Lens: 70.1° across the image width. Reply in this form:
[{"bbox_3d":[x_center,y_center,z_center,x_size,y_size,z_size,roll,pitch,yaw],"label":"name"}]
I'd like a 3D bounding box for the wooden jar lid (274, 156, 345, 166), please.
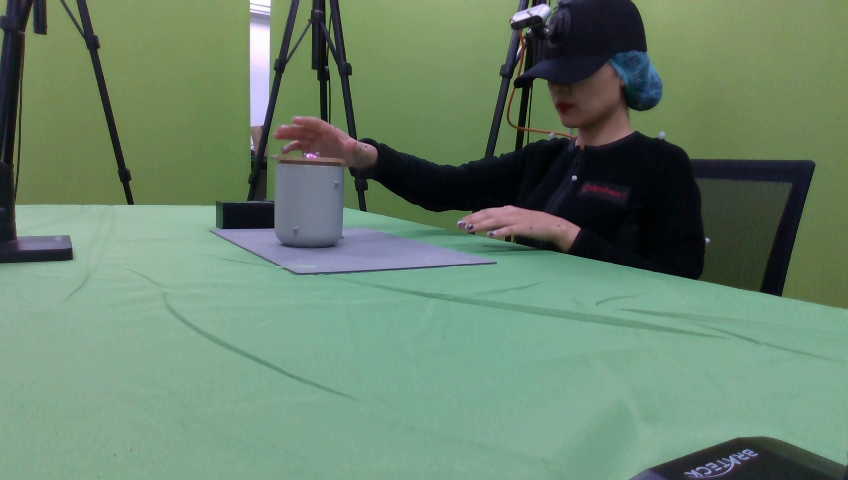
[{"bbox_3d":[-0.177,-0.118,0.936,0.108,0.020,0.108,2,8,0],"label":"wooden jar lid"}]

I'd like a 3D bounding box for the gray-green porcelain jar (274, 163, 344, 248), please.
[{"bbox_3d":[-0.180,-0.055,0.945,0.106,0.126,0.106,2,7,0],"label":"gray-green porcelain jar"}]
